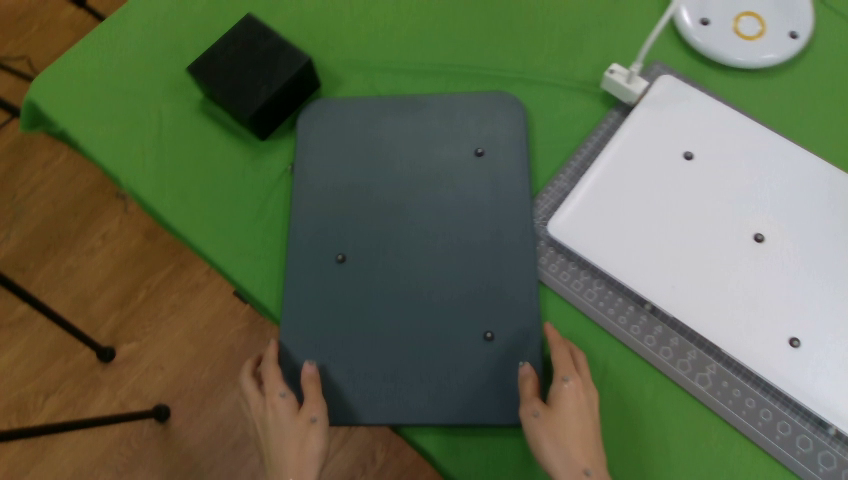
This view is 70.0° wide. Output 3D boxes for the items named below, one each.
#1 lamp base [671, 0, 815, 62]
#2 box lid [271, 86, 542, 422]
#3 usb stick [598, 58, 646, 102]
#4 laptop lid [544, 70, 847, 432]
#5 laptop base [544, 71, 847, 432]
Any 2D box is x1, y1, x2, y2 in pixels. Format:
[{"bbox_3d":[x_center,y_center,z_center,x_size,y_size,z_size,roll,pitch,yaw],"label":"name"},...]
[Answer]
[{"bbox_3d":[0.367,-0.314,0.640,0.160,0.181,0.178,0,67,3],"label":"lamp base"},{"bbox_3d":[-0.017,-0.002,0.634,0.263,0.015,0.369,-1,70,3],"label":"box lid"},{"bbox_3d":[0.223,-0.172,0.667,0.059,0.027,0.021,40,71,12],"label":"usb stick"},{"bbox_3d":[0.327,-0.005,0.601,0.355,0.013,0.241,37,78,15],"label":"laptop lid"},{"bbox_3d":[0.329,-0.003,0.613,0.352,0.023,0.235,35,79,14],"label":"laptop base"}]
